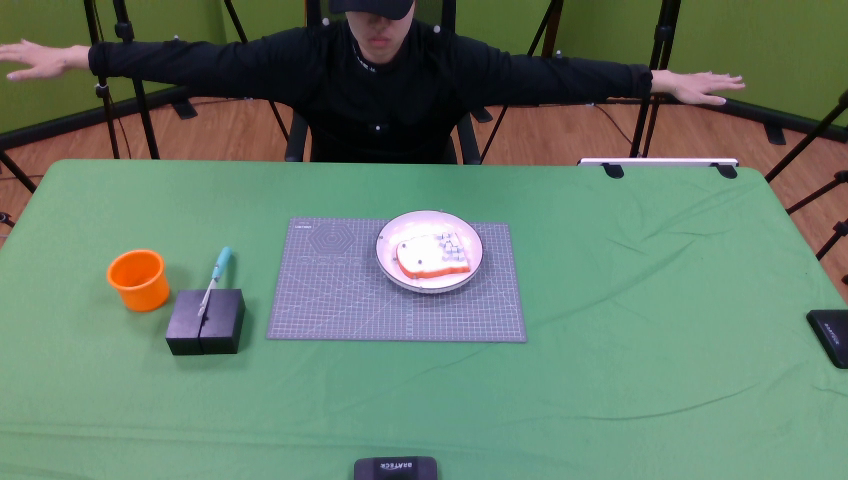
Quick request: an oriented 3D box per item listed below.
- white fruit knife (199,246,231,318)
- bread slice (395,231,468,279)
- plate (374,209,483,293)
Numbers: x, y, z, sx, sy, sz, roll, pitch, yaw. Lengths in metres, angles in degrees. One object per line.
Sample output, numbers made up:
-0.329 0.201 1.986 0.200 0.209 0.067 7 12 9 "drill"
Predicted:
-0.367 0.069 1.063 0.016 0.027 0.206 -1 32 -4 "white fruit knife"
0.011 0.030 1.158 0.132 0.019 0.104 -8 47 -14 "bread slice"
0.009 0.024 1.160 0.209 0.038 0.208 2 46 -2 "plate"
